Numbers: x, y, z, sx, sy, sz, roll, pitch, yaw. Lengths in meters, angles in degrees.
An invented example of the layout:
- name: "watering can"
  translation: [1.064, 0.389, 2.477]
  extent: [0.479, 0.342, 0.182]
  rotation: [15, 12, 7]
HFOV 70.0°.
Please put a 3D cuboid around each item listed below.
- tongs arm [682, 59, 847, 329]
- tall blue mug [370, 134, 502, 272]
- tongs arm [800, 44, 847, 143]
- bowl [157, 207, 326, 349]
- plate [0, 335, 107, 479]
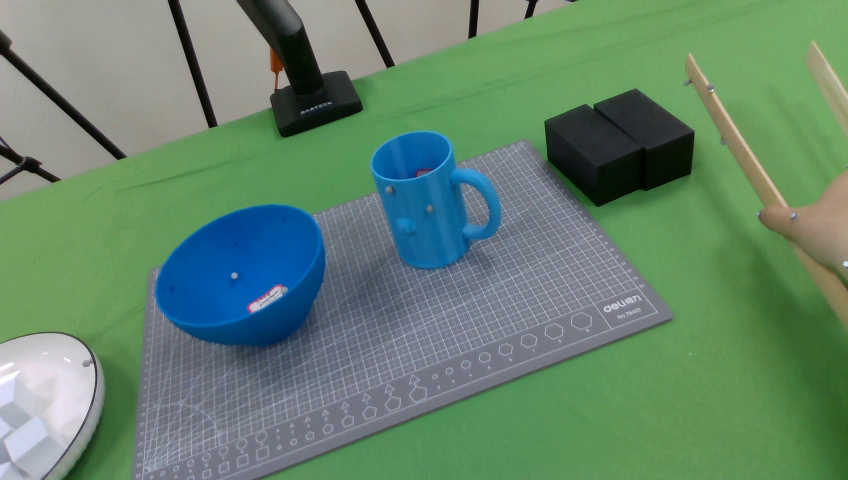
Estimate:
- name: "tongs arm"
  translation: [0.304, -0.050, 0.515]
  extent: [0.051, 0.027, 0.381]
  rotation: [-5, 46, 5]
- name: "tall blue mug"
  translation: [0.015, -0.037, 0.571]
  extent: [0.107, 0.109, 0.077]
  rotation: [-12, 41, 5]
- name: "tongs arm"
  translation: [0.370, -0.056, 0.507]
  extent: [0.028, 0.028, 0.384]
  rotation: [3, 47, 8]
- name: "bowl"
  translation: [-0.153, 0.047, 0.555]
  extent: [0.151, 0.077, 0.150]
  rotation: [-9, 42, 8]
- name: "plate"
  translation: [-0.371, 0.174, 0.519]
  extent: [0.209, 0.038, 0.207]
  rotation: [-8, 42, 8]
